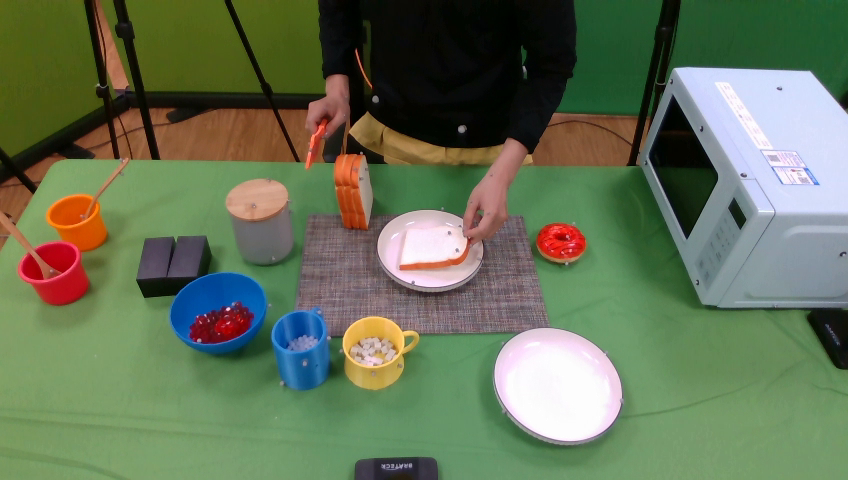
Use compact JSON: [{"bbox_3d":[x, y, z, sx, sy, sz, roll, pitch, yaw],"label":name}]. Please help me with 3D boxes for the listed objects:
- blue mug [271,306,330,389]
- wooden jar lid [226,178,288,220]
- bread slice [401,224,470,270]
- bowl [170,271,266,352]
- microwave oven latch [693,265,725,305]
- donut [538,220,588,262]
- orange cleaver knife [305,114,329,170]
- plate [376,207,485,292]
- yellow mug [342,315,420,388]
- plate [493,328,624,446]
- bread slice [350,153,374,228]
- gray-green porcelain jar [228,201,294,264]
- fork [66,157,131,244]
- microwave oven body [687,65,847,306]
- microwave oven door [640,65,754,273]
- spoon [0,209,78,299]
[{"bbox_3d":[-0.188,0.163,0.969,0.082,0.106,0.116,15,47,10],"label":"blue mug"},{"bbox_3d":[-0.296,-0.070,1.081,0.108,0.021,0.107,1,45,-1],"label":"wooden jar lid"},{"bbox_3d":[0.024,0.010,1.154,0.131,0.019,0.104,-7,45,16],"label":"bread slice"},{"bbox_3d":[-0.333,0.132,1.006,0.151,0.077,0.150,2,46,-2],"label":"bowl"},{"bbox_3d":[0.522,0.081,1.115,0.030,0.029,0.078,2,46,-1],"label":"microwave oven latch"},{"bbox_3d":[0.273,0.001,1.198,0.099,0.048,0.098,0,46,0],"label":"donut"},{"bbox_3d":[-0.215,-0.200,1.217,0.012,0.077,0.210,12,25,-6],"label":"orange cleaver knife"},{"bbox_3d":[0.012,0.021,1.159,0.209,0.038,0.208,2,47,-2],"label":"plate"},{"bbox_3d":[-0.068,0.177,0.990,0.131,0.064,0.099,-15,50,-19],"label":"yellow mug"},{"bbox_3d":[0.213,0.236,0.974,0.208,0.039,0.206,2,46,-2],"label":"plate"},{"bbox_3d":[-0.123,-0.104,1.206,0.018,0.135,0.106,-1,48,7],"label":"bread slice"},{"bbox_3d":[-0.299,-0.027,1.126,0.106,0.127,0.105,2,46,-2],"label":"gray-green porcelain jar"},{"bbox_3d":[-0.608,-0.074,1.132,0.207,0.019,0.028,-52,47,10],"label":"fork"},{"bbox_3d":[0.669,-0.111,1.176,0.326,0.261,0.439,0,46,-3],"label":"microwave oven body"},{"bbox_3d":[0.523,-0.147,1.193,0.039,0.245,0.353,0,47,-3],"label":"microwave oven door"},{"bbox_3d":[-0.668,0.021,1.040,0.041,0.021,0.194,-41,105,-30],"label":"spoon"}]
